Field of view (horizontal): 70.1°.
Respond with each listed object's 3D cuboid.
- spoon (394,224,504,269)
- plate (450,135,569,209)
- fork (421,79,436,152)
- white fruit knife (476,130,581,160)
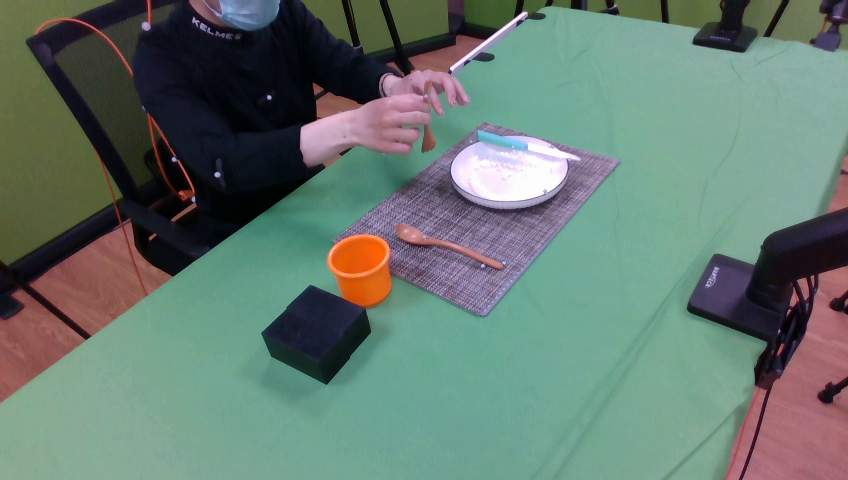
[{"bbox_3d":[0.037,0.010,0.945,0.192,0.022,0.042,18,29,26],"label":"spoon"},{"bbox_3d":[0.149,-0.117,1.066,0.209,0.038,0.208,-3,41,3],"label":"plate"},{"bbox_3d":[0.006,-0.200,1.000,0.028,0.208,0.018,-20,66,-8],"label":"fork"},{"bbox_3d":[0.184,-0.170,1.089,0.206,0.016,0.027,18,43,25],"label":"white fruit knife"}]
